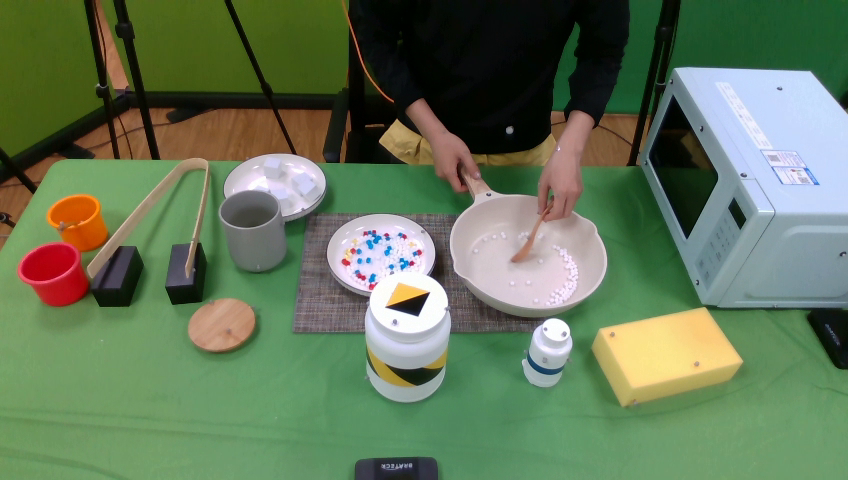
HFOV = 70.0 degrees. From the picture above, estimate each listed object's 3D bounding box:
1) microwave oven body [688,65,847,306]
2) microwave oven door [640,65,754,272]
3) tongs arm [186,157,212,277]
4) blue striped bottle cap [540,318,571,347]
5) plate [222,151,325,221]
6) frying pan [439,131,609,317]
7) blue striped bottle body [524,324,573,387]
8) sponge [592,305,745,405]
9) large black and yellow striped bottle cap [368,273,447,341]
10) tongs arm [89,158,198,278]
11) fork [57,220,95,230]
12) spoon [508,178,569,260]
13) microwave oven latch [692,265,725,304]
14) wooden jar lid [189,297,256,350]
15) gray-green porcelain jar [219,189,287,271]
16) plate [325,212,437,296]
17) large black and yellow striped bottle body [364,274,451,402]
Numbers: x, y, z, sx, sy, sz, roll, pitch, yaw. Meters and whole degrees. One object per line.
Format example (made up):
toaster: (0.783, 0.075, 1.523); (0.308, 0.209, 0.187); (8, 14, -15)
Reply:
microwave oven body: (0.669, -0.111, 1.176); (0.326, 0.261, 0.439); (0, 46, -3)
microwave oven door: (0.524, -0.148, 1.193); (0.039, 0.245, 0.353); (0, 47, -3)
tongs arm: (-0.445, -0.058, 1.168); (0.051, 0.026, 0.382); (-5, 37, -6)
blue striped bottle cap: (0.203, 0.142, 0.933); (0.044, 0.021, 0.044); (3, 49, -3)
plate: (-0.310, -0.106, 1.263); (0.208, 0.039, 0.206); (2, 46, -2)
frying pan: (0.149, -0.049, 1.189); (0.307, 0.103, 0.484); (-17, 58, -20)
blue striped bottle body: (0.200, 0.178, 0.970); (0.063, 0.121, 0.062); (2, 46, -2)
sponge: (0.405, 0.190, 1.014); (0.207, 0.061, 0.117); (-10, 48, -13)
large black and yellow striped bottle cap: (-0.023, 0.094, 0.875); (0.115, 0.019, 0.114); (2, 45, -2)
tongs arm: (-0.529, -0.058, 1.164); (0.028, 0.028, 0.385); (1, 36, 8)
fork: (-0.624, -0.027, 1.086); (0.028, 0.207, 0.018); (-3, 92, -17)
spoon: (0.225, -0.041, 1.170); (0.041, 0.022, 0.193); (33, 90, 44)
microwave oven latch: (0.522, 0.081, 1.116); (0.030, 0.029, 0.078); (1, 46, -2)
wooden jar lid: (-0.342, 0.145, 1.033); (0.108, 0.021, 0.107); (2, 45, -2)
gray-green porcelain jar: (-0.310, -0.014, 1.113); (0.106, 0.127, 0.105); (2, 46, -2)
plate: (-0.080, 0.030, 1.143); (0.209, 0.038, 0.208); (3, 46, -2)
large black and yellow striped bottle body: (-0.026, 0.151, 0.937); (0.131, 0.185, 0.130); (2, 47, -2)
